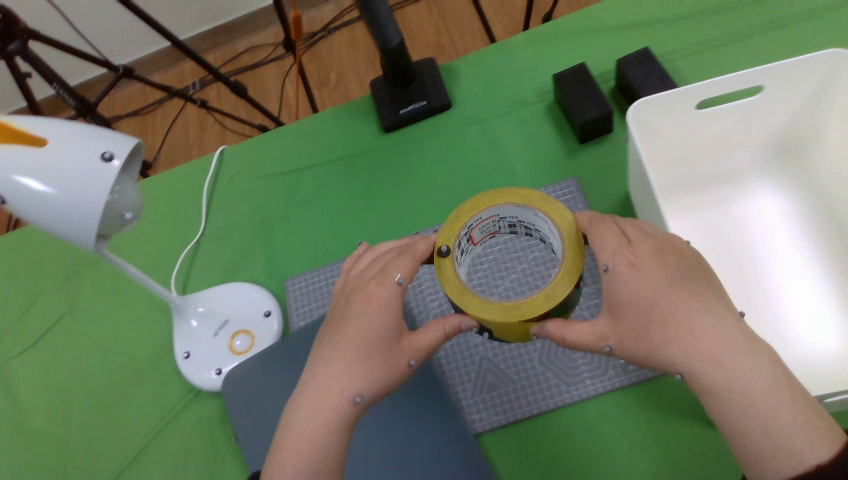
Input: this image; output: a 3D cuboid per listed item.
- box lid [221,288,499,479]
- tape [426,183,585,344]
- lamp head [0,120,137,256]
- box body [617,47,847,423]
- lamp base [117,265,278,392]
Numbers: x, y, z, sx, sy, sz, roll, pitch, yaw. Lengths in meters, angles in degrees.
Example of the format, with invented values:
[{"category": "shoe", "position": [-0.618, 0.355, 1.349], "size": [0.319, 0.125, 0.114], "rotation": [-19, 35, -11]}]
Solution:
[{"category": "box lid", "position": [-0.083, 0.254, 0.743], "size": [0.263, 0.015, 0.367], "rotation": [-31, 62, -4]}, {"category": "tape", "position": [0.063, 0.016, 0.462], "size": [0.116, 0.053, 0.116], "rotation": [-5, 63, 10]}, {"category": "lamp head", "position": [-0.335, -0.053, 0.541], "size": [0.123, 0.112, 0.111], "rotation": [17, 64, -13]}, {"category": "box body", "position": [0.384, -0.002, 0.667], "size": [0.254, 0.162, 0.360], "rotation": [-14, 60, 8]}, {"category": "lamp base", "position": [-0.312, 0.098, 0.800], "size": [0.178, 0.182, 0.160], "rotation": [15, 67, 25]}]
